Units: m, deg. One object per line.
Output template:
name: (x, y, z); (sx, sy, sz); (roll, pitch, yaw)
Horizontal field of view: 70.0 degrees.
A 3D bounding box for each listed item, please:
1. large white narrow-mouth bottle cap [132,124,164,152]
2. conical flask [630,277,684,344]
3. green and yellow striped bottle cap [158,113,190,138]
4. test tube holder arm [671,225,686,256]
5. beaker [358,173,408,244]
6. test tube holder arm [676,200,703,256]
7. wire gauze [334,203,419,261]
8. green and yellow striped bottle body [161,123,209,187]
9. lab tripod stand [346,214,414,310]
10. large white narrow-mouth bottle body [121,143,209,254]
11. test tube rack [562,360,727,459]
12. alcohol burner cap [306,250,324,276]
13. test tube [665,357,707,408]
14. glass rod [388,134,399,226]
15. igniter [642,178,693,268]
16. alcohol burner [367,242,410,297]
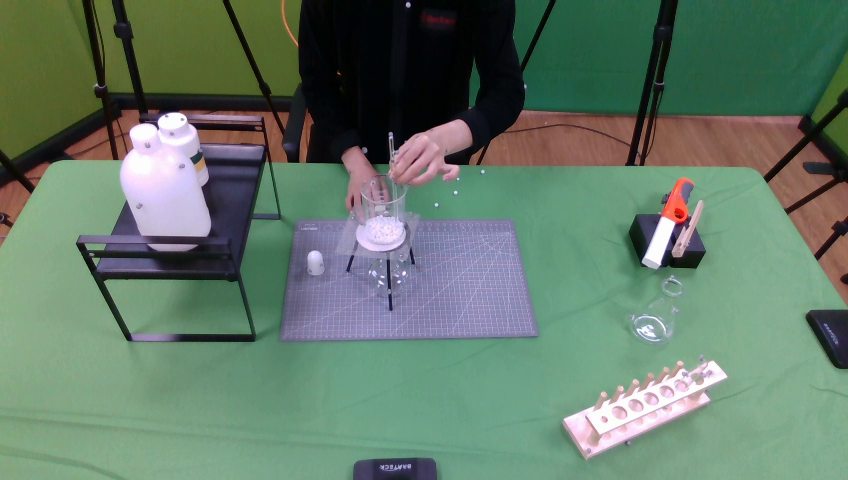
large white narrow-mouth bottle cap: (-0.370, -0.137, 0.813); (0.038, 0.024, 0.037); (3, 46, -3)
conical flask: (0.408, 0.117, 1.045); (0.075, 0.122, 0.075); (2, 46, -2)
green and yellow striped bottle cap: (-0.393, -0.180, 0.951); (0.045, 0.020, 0.045); (2, 44, -2)
test tube holder arm: (0.494, 0.001, 1.166); (0.010, 0.015, 0.087); (1, 36, 42)
beaker: (-0.066, -0.050, 1.001); (0.084, 0.101, 0.073); (-18, 49, -20)
test tube holder arm: (0.523, -0.025, 1.190); (0.013, 0.015, 0.178); (1, 36, 41)
wire gauze: (-0.079, -0.013, 1.031); (0.121, 0.011, 0.124); (8, 48, 7)
green and yellow striped bottle body: (-0.395, -0.145, 0.989); (0.063, 0.120, 0.063); (2, 46, -2)
lab tripod stand: (-0.075, 0.030, 1.082); (0.148, 0.132, 0.147); (1, 47, -1)
large white narrow-mouth bottle body: (-0.378, -0.077, 0.875); (0.102, 0.195, 0.101); (3, 46, -3)
test tube rack: (0.341, 0.247, 0.940); (0.243, 0.085, 0.066); (-16, 49, -18)
alcohol burner cap: (-0.204, 0.041, 1.125); (0.034, 0.048, 0.033); (2, 46, -2)
test tube: (0.387, 0.215, 0.905); (0.017, 0.151, 0.017); (1, 52, -1)
glass rod: (-0.047, -0.089, 0.957); (0.008, 0.201, 0.008); (-1, 50, 1)
igniter: (0.488, -0.042, 1.205); (0.057, 0.025, 0.276); (30, 51, 11)
alcohol burner: (-0.064, 0.047, 1.080); (0.078, 0.120, 0.077); (1, 47, -1)
